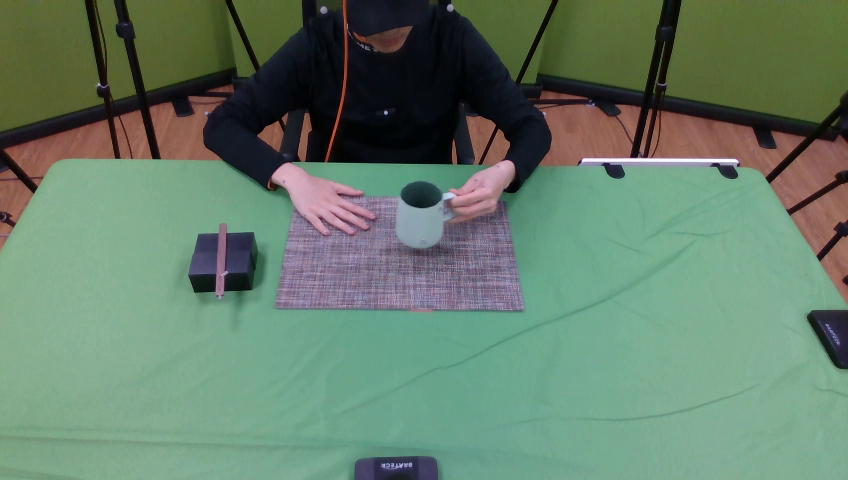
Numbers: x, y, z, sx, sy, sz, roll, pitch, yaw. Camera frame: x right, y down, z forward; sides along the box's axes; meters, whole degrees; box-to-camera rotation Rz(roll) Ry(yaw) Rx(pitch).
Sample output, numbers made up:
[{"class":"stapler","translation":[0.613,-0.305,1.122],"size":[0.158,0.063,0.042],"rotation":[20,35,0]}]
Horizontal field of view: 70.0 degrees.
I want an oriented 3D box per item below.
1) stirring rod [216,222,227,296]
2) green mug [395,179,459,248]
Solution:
[{"class":"stirring rod","translation":[-0.361,0.031,1.082],"size":[0.014,0.006,0.175],"rotation":[-6,48,-10]},{"class":"green mug","translation":[0.007,-0.052,1.124],"size":[0.125,0.105,0.092],"rotation":[-17,49,-20]}]
